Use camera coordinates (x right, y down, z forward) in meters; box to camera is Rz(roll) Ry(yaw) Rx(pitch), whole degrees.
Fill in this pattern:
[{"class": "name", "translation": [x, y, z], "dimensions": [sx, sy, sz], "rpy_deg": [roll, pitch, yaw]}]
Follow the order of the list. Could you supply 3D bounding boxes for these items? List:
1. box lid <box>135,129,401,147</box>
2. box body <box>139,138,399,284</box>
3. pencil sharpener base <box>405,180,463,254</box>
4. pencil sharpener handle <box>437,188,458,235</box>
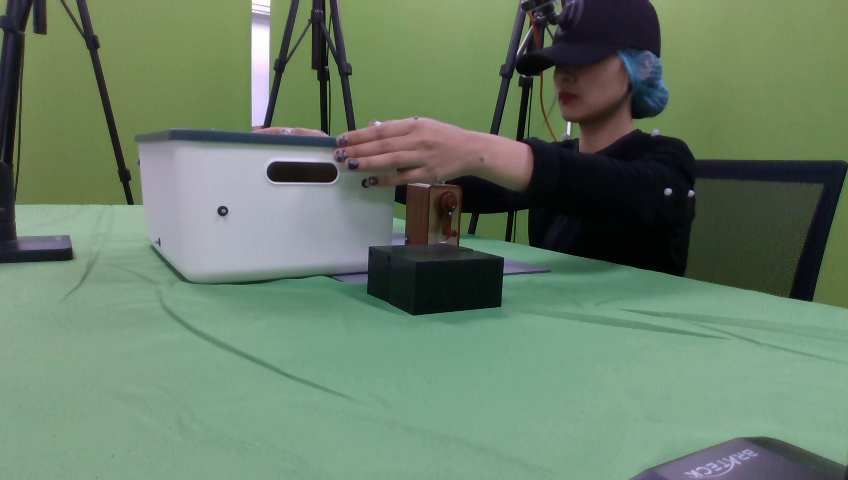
[{"class": "box lid", "translation": [-0.220, -0.129, 0.795], "dimensions": [0.265, 0.015, 0.369], "rpy_deg": [-4, 9, -31]}, {"class": "box body", "translation": [-0.222, -0.056, 0.807], "dimensions": [0.255, 0.160, 0.362], "rpy_deg": [-3, 9, -31]}, {"class": "pencil sharpener base", "translation": [0.016, -0.035, 0.922], "dimensions": [0.061, 0.107, 0.076], "rpy_deg": [-2, 9, -30]}, {"class": "pencil sharpener handle", "translation": [0.041, -0.041, 0.877], "dimensions": [0.036, 0.067, 0.030], "rpy_deg": [1, 7, -30]}]
